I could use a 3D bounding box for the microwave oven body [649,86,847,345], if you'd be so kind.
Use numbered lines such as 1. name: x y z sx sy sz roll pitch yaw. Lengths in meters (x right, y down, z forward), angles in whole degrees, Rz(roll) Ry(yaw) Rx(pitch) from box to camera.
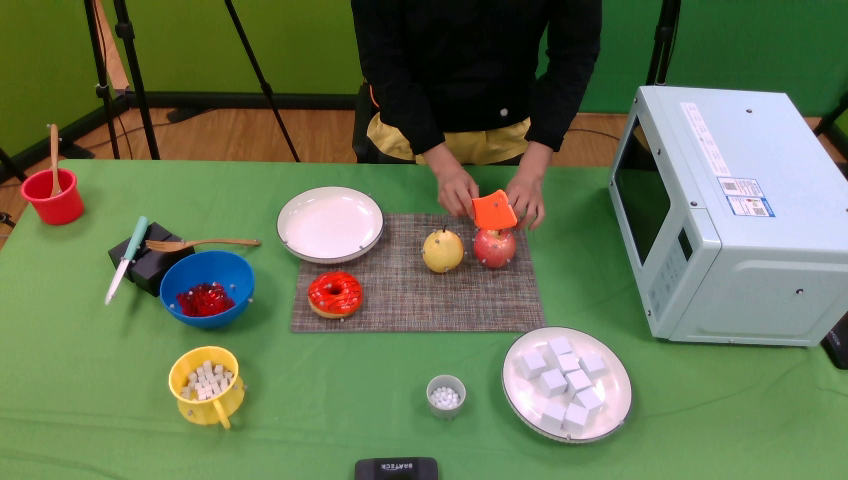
1. microwave oven body: 0.567 -0.053 1.118 0.326 0.261 0.439 2 45 -1

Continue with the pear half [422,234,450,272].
1. pear half: 0.017 0.026 1.122 0.031 0.088 0.070 -32 61 -30

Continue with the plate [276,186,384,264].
1. plate: -0.184 -0.027 1.195 0.209 0.038 0.208 2 46 -2

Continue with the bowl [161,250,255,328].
1. bowl: -0.362 0.097 1.040 0.151 0.077 0.150 2 45 -2

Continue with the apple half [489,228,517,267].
1. apple half: 0.147 0.008 1.160 0.053 0.075 0.080 -23 46 -29

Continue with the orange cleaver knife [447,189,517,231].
1. orange cleaver knife: 0.105 -0.054 1.133 0.012 0.077 0.210 -20 10 -26

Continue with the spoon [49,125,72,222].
1. spoon: -0.717 -0.131 1.189 0.041 0.021 0.193 -3 90 -7

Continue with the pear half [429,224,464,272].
1. pear half: 0.045 0.005 1.131 0.056 0.110 0.076 -32 60 -29

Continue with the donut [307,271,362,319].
1. donut: -0.157 0.097 1.073 0.099 0.048 0.098 4 45 -4

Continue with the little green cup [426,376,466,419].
1. little green cup: 0.033 0.248 0.950 0.061 0.039 0.061 2 46 -2

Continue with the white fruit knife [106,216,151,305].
1. white fruit knife: -0.519 0.032 1.066 0.027 0.016 0.206 -18 45 19

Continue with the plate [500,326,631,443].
1. plate: 0.224 0.234 0.978 0.208 0.039 0.206 2 46 -2

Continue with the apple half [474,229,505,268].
1. apple half: 0.115 0.022 1.142 0.033 0.081 0.081 -24 52 -28

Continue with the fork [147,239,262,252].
1. fork: -0.399 0.007 1.118 0.208 0.019 0.028 -4 34 -37

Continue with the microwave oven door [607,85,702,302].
1. microwave oven door: 0.423 -0.094 1.140 0.039 0.245 0.353 2 46 -1

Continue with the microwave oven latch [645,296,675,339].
1. microwave oven latch: 0.412 0.134 1.061 0.030 0.029 0.078 3 45 0

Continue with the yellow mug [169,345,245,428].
1. yellow mug: -0.322 0.230 0.922 0.100 0.064 0.130 -24 53 -25
